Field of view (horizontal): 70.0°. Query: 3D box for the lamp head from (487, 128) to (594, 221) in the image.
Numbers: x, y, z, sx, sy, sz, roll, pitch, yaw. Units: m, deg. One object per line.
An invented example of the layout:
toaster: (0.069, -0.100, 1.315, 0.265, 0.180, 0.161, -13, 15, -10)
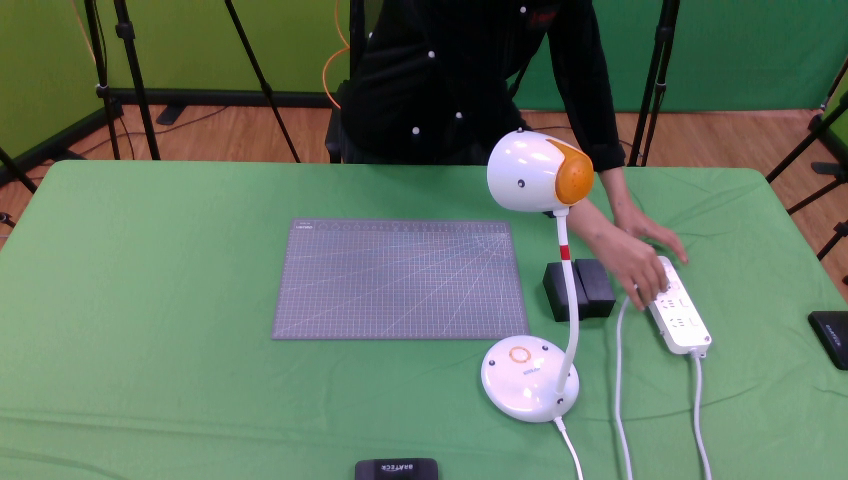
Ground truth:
lamp head: (0.160, -0.084, 0.792, 0.112, 0.113, 0.122, -24, 28, -25)

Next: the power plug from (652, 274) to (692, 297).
power plug: (0.447, 0.092, 1.102, 0.035, 0.053, 0.072, -28, 56, -5)

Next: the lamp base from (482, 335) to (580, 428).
lamp base: (0.184, 0.177, 0.928, 0.161, 0.181, 0.178, -22, 53, -23)

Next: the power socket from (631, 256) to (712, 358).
power socket: (0.449, 0.115, 1.112, 0.072, 0.033, 0.225, -4, 47, -6)
